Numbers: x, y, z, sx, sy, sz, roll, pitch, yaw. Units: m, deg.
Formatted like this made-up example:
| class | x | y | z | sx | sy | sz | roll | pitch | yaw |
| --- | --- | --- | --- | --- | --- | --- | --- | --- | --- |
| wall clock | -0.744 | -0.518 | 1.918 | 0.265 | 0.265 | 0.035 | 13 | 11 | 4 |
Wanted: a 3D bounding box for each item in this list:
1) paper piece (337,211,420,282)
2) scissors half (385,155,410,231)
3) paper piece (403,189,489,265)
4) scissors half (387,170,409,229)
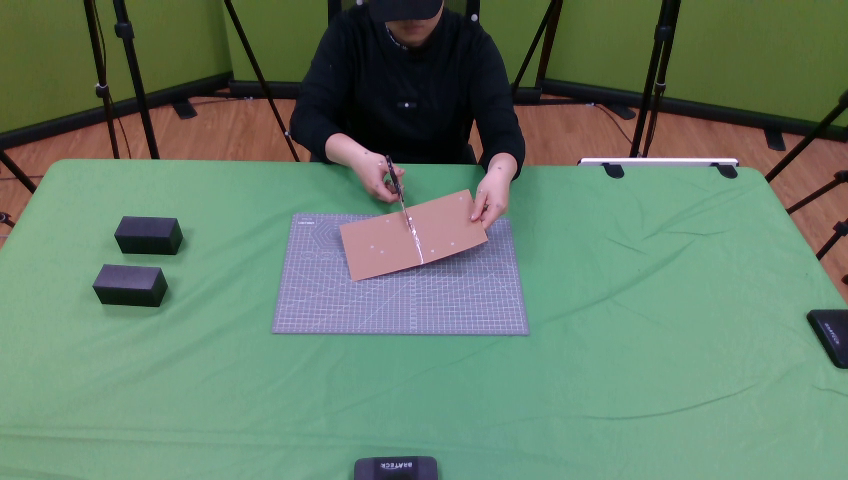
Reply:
| class | x | y | z | sx | sy | sz | roll | pitch | yaw |
| --- | --- | --- | --- | --- | --- | --- | --- | --- | --- |
| paper piece | -0.089 | 0.009 | 1.162 | 0.135 | 0.004 | 0.135 | -14 | 56 | -6 |
| scissors half | -0.053 | -0.095 | 1.215 | 0.013 | 0.040 | 0.174 | -18 | 73 | 0 |
| paper piece | 0.039 | -0.028 | 1.168 | 0.138 | 0.009 | 0.135 | -17 | 61 | 1 |
| scissors half | -0.051 | -0.084 | 1.233 | 0.013 | 0.040 | 0.174 | -15 | 49 | -5 |
